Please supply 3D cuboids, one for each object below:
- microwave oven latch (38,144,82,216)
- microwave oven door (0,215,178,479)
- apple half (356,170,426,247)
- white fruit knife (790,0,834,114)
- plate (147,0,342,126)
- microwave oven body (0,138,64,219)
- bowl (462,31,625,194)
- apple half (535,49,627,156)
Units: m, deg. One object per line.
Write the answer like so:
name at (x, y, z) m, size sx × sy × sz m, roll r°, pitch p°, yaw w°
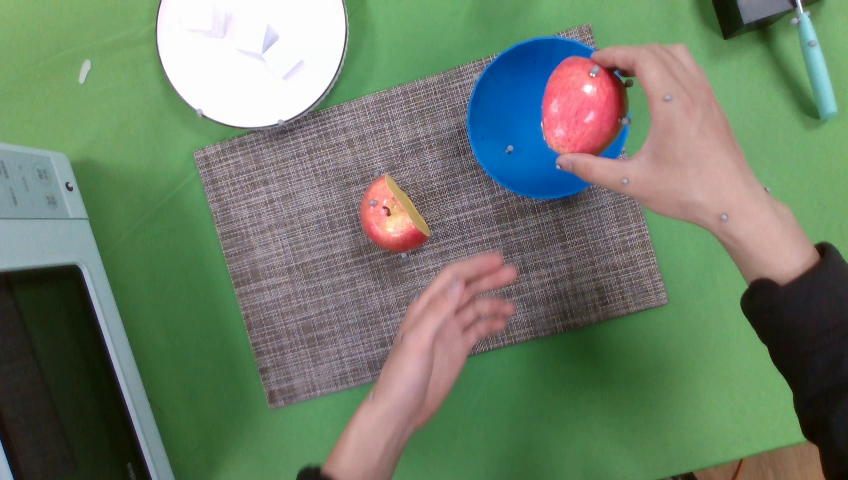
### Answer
microwave oven latch at (-0.404, -0.063, 0.658) m, size 0.030 × 0.029 × 0.079 m, roll -17°, pitch 92°, yaw 6°
microwave oven door at (-0.349, 0.150, 0.564) m, size 0.039 × 0.244 × 0.355 m, roll -18°, pitch 91°, yaw 7°
apple half at (-0.040, -0.026, 0.622) m, size 0.053 × 0.074 × 0.081 m, roll -36°, pitch 93°, yaw 10°
white fruit knife at (0.351, -0.211, 0.569) m, size 0.016 × 0.027 × 0.208 m, roll -21°, pitch 108°, yaw 24°
plate at (-0.187, -0.224, 0.646) m, size 0.207 × 0.039 × 0.207 m, roll 0°, pitch 93°, yaw 5°
microwave oven body at (-0.499, 0.154, 0.583) m, size 0.326 × 0.260 × 0.441 m, roll -18°, pitch 92°, yaw 6°
bowl at (0.114, -0.119, 0.598) m, size 0.151 × 0.077 × 0.151 m, roll 0°, pitch 93°, yaw 6°
apple half at (0.123, -0.101, 0.454) m, size 0.081 × 0.032 × 0.081 m, roll -3°, pitch 99°, yaw -19°
